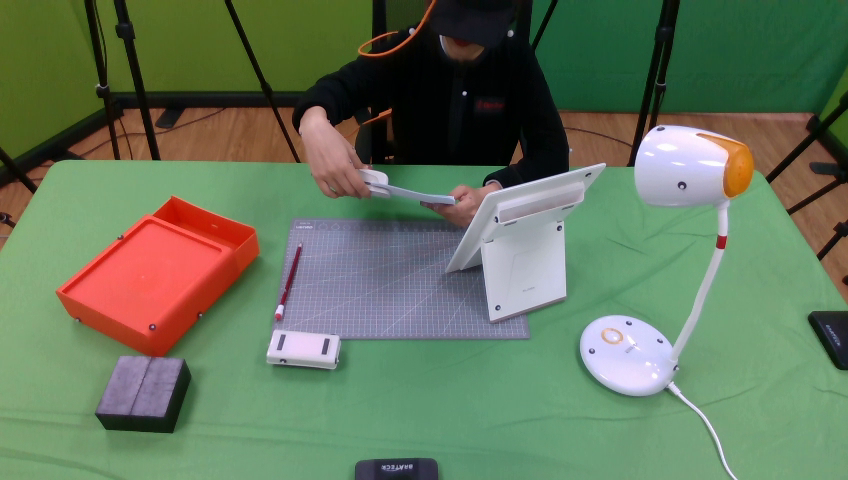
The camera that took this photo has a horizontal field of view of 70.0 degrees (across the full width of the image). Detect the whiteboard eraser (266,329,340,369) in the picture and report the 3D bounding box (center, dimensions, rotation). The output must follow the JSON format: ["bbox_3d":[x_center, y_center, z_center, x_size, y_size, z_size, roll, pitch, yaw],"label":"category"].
[{"bbox_3d":[-0.198,0.181,0.994,0.113,0.042,0.055,5,45,1],"label":"whiteboard eraser"}]

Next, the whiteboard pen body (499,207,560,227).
[{"bbox_3d":[0.222,-0.051,1.259,0.141,0.017,0.017,-15,49,-16],"label":"whiteboard pen body"}]

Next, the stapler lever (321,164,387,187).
[{"bbox_3d":[-0.123,-0.116,1.082,0.118,0.027,0.040,19,79,1],"label":"stapler lever"}]

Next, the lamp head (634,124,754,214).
[{"bbox_3d":[0.351,-0.089,0.776,0.112,0.113,0.122,-30,30,-28],"label":"lamp head"}]

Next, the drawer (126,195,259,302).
[{"bbox_3d":[-0.442,0.033,1.092,0.194,0.073,0.211,21,49,15],"label":"drawer"}]

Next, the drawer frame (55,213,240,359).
[{"bbox_3d":[-0.469,0.072,1.050,0.201,0.083,0.213,21,49,14],"label":"drawer frame"}]

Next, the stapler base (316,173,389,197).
[{"bbox_3d":[-0.125,-0.102,1.081,0.130,0.041,0.024,9,78,-1],"label":"stapler base"}]

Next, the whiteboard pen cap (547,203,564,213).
[{"bbox_3d":[0.277,-0.066,1.275,0.033,0.018,0.018,-18,50,-15],"label":"whiteboard pen cap"}]

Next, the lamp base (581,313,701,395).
[{"bbox_3d":[0.361,0.144,0.973,0.178,0.181,0.160,34,53,23],"label":"lamp base"}]

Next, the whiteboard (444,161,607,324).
[{"bbox_3d":[0.186,0.025,1.029,0.217,0.306,0.143,-15,68,-18],"label":"whiteboard"}]

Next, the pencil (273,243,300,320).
[{"bbox_3d":[-0.249,0.070,1.115,0.012,0.012,0.193,5,44,1],"label":"pencil"}]
